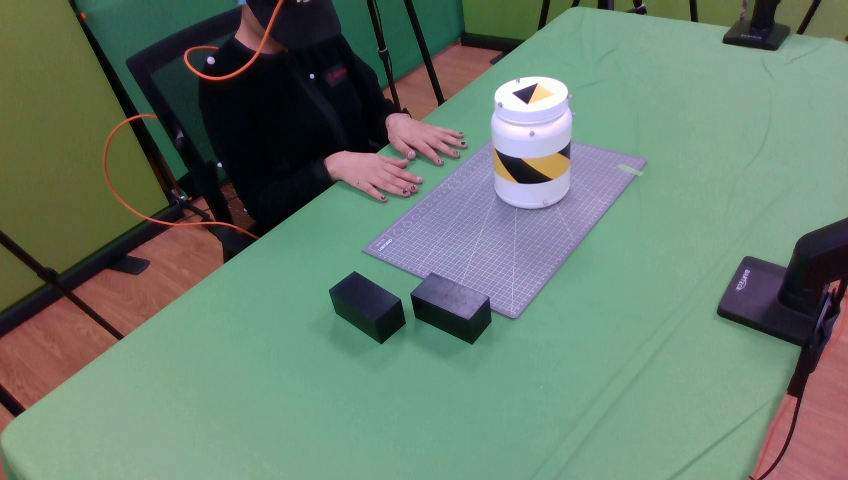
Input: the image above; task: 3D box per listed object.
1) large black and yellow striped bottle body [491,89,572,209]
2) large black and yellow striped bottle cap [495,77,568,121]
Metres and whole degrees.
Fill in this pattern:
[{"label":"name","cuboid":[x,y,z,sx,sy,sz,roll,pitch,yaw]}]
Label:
[{"label":"large black and yellow striped bottle body","cuboid":[0.180,-0.159,1.006,0.131,0.185,0.130,-5,40,5]},{"label":"large black and yellow striped bottle cap","cuboid":[0.169,-0.224,0.954,0.115,0.019,0.114,-4,41,4]}]
